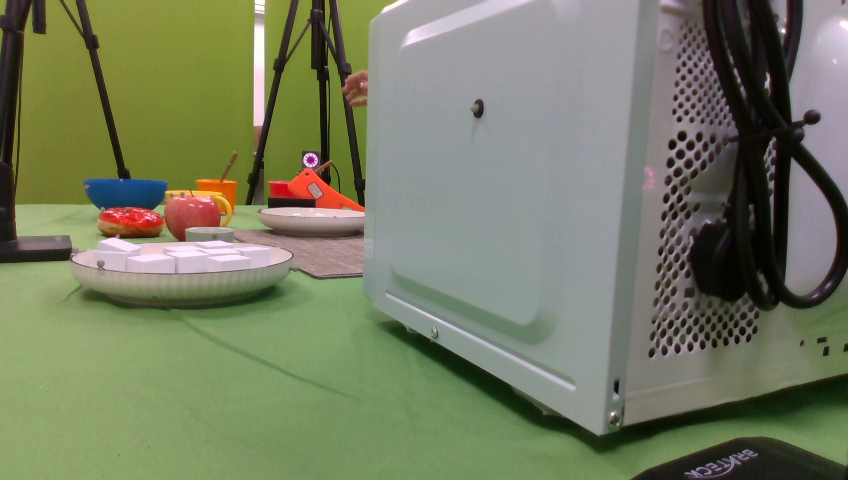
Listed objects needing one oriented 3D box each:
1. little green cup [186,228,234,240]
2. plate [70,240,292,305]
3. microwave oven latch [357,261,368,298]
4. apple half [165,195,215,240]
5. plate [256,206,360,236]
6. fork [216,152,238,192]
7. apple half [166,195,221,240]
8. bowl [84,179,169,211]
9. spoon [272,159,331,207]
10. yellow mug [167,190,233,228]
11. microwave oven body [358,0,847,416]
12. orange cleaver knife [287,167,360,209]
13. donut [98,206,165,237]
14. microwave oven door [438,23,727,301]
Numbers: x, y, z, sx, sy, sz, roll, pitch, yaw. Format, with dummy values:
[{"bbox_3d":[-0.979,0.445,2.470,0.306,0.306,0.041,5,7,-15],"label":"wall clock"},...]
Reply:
[{"bbox_3d":[-0.284,0.005,0.805,0.061,0.038,0.061,2,8,0],"label":"little green cup"},{"bbox_3d":[-0.242,0.031,0.618,0.208,0.039,0.207,2,8,0],"label":"plate"},{"bbox_3d":[-0.019,0.033,0.530,0.079,0.029,0.030,-1,7,-26],"label":"microwave oven latch"},{"bbox_3d":[-0.377,-0.038,0.964,0.082,0.081,0.032,-4,15,-39],"label":"apple half"},{"bbox_3d":[-0.202,-0.037,1.120,0.209,0.038,0.209,2,8,0],"label":"plate"},{"bbox_3d":[-0.455,-0.132,1.366,0.028,0.018,0.207,-2,-35,-37],"label":"fork"},{"bbox_3d":[-0.352,-0.031,0.935,0.081,0.074,0.053,1,11,-40],"label":"apple half"},{"bbox_3d":[-0.584,-0.078,1.194,0.151,0.077,0.151,3,8,0],"label":"bowl"},{"bbox_3d":[-0.307,-0.142,1.513,0.193,0.021,0.041,-41,4,9],"label":"spoon"},{"bbox_3d":[-0.415,-0.057,1.132,0.130,0.064,0.100,6,8,16],"label":"yellow mug"},{"bbox_3d":[0.211,-0.047,0.474,0.444,0.260,0.324,-1,8,-28],"label":"microwave oven body"},{"bbox_3d":[-0.209,-0.089,1.383,0.212,0.077,0.012,31,3,-15],"label":"orange cleaver knife"},{"bbox_3d":[-0.472,-0.028,0.979,0.099,0.048,0.099,5,8,0],"label":"donut"},{"bbox_3d":[0.181,-0.072,0.621,0.358,0.243,0.039,-2,8,-29],"label":"microwave oven door"}]
